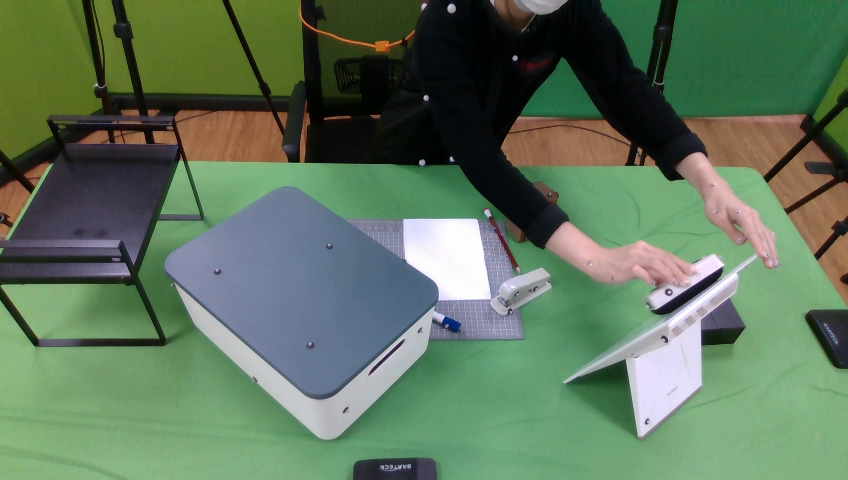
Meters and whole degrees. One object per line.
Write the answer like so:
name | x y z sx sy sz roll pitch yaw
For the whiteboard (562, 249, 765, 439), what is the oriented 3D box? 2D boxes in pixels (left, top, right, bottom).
whiteboard | 0.387 0.176 0.905 0.217 0.306 0.143 -26 72 -26

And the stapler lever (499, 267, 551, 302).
stapler lever | 0.185 0.076 1.101 0.118 0.040 0.026 -24 56 -29

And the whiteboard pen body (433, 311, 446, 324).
whiteboard pen body | -0.004 0.123 1.074 0.140 0.017 0.017 24 49 15

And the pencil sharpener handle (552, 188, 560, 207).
pencil sharpener handle | 0.262 -0.084 1.221 0.031 0.068 0.036 -16 64 -19

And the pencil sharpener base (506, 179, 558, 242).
pencil sharpener base | 0.216 -0.059 1.211 0.077 0.107 0.061 -16 49 -19

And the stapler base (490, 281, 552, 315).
stapler base | 0.181 0.094 1.118 0.130 0.024 0.041 -24 56 -29

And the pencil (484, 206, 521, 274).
pencil | 0.158 -0.002 1.217 0.012 0.012 0.192 -10 48 -14

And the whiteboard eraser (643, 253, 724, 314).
whiteboard eraser | 0.374 0.065 0.870 0.112 0.056 0.041 -36 76 4

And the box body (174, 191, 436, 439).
box body | -0.191 0.110 0.979 0.362 0.161 0.254 33 53 24

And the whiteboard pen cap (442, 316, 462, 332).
whiteboard pen cap | 0.048 0.147 1.060 0.033 0.018 0.018 24 49 17

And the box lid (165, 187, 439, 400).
box lid | -0.186 0.060 0.925 0.370 0.015 0.263 32 53 25
